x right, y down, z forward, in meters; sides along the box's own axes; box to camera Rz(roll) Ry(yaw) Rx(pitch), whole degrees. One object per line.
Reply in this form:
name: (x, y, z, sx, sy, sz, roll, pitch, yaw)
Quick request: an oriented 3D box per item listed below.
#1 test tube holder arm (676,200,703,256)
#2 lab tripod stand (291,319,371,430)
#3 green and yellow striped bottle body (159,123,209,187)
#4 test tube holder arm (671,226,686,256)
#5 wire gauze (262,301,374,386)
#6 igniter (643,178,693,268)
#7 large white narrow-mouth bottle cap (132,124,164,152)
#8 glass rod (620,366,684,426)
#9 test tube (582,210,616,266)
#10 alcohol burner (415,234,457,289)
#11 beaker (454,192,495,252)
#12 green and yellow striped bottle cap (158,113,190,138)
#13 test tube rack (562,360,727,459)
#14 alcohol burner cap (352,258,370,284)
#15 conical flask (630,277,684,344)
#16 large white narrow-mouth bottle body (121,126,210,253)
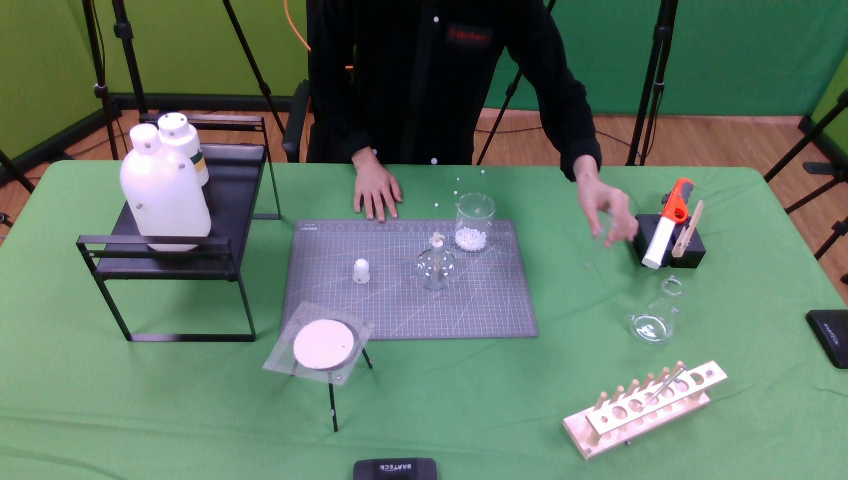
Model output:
test tube holder arm: (0.523, -0.025, 1.190, 0.013, 0.015, 0.178, 1, 36, 41)
lab tripod stand: (-0.146, 0.194, 0.923, 0.148, 0.132, 0.147, 1, 47, -1)
green and yellow striped bottle body: (-0.395, -0.145, 0.989, 0.063, 0.120, 0.063, 2, 46, -2)
test tube holder arm: (0.494, 0.001, 1.166, 0.010, 0.015, 0.087, 1, 36, 42)
wire gauze: (-0.150, 0.148, 0.873, 0.121, 0.011, 0.124, 14, 46, 12)
igniter: (0.488, -0.042, 1.204, 0.057, 0.025, 0.276, 30, 51, 11)
large white narrow-mouth bottle cap: (-0.371, -0.137, 0.813, 0.038, 0.024, 0.037, 3, 46, -3)
glass rod: (0.322, 0.227, 0.866, 0.008, 0.200, 0.008, 5, 51, -7)
test tube: (0.277, 0.000, 0.966, 0.017, 0.151, 0.017, 1, 58, -2)
alcohol burner: (0.022, 0.033, 1.100, 0.078, 0.120, 0.077, 1, 47, -1)
beaker: (0.097, -0.034, 1.180, 0.074, 0.101, 0.084, 23, 49, 16)
green and yellow striped bottle cap: (-0.393, -0.180, 0.951, 0.045, 0.020, 0.045, 3, 44, -2)
test tube rack: (0.341, 0.247, 0.940, 0.243, 0.085, 0.066, -16, 49, -18)
alcohol burner cap: (-0.117, 0.055, 1.118, 0.034, 0.048, 0.033, 2, 46, -1)
conical flask: (0.408, 0.117, 1.045, 0.075, 0.122, 0.075, 2, 46, -2)
large white narrow-mouth bottle body: (-0.378, -0.077, 0.875, 0.102, 0.195, 0.101, 3, 46, -3)
